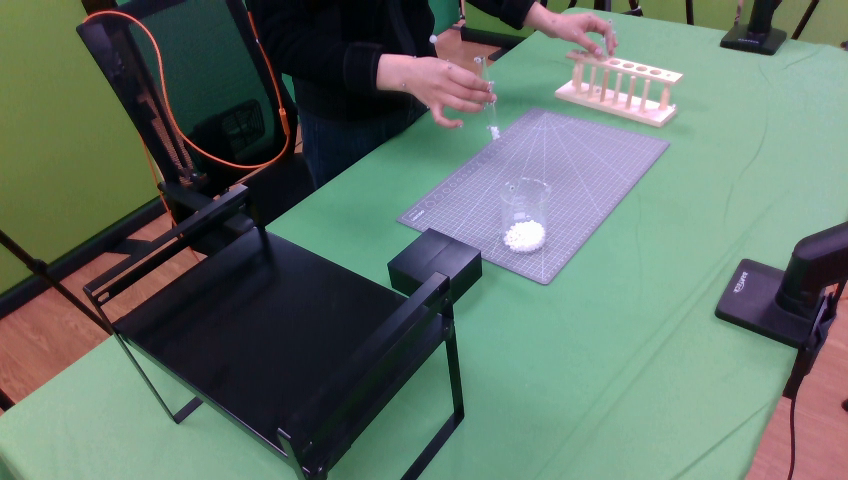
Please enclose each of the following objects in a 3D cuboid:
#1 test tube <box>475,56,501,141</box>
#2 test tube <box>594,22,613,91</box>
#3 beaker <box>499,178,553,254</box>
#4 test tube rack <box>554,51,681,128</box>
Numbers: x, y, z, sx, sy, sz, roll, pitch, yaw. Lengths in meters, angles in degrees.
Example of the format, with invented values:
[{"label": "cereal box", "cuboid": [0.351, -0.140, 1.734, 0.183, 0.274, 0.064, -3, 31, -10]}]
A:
[{"label": "test tube", "cuboid": [0.104, -0.224, 0.970, 0.017, 0.151, 0.017, -11, 40, 10]}, {"label": "test tube", "cuboid": [0.365, -0.370, 1.231, 0.017, 0.151, 0.017, -2, 45, 2]}, {"label": "beaker", "cuboid": [0.158, -0.036, 0.929, 0.084, 0.100, 0.073, -16, 41, -12]}, {"label": "test tube rack", "cuboid": [0.388, -0.311, 1.235, 0.240, 0.085, 0.067, 27, 51, 35]}]
